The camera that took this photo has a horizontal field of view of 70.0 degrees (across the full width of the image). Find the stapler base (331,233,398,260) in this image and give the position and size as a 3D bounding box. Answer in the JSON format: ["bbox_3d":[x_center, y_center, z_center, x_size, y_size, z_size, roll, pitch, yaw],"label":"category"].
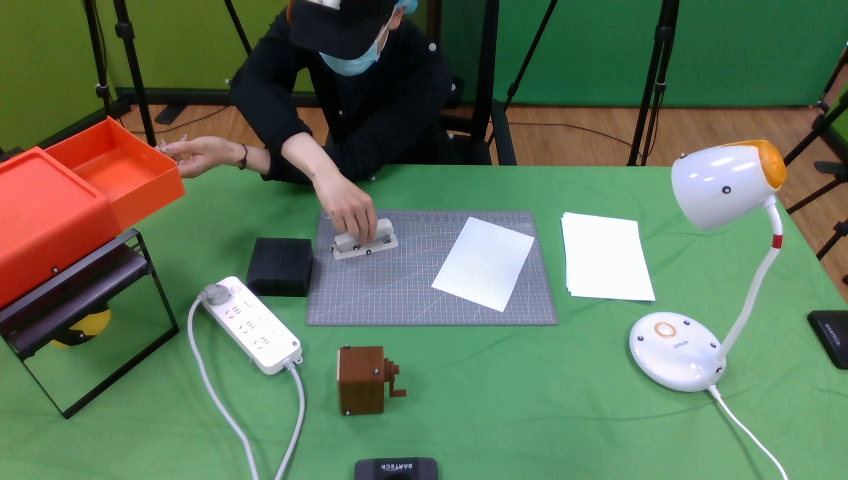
[{"bbox_3d":[-0.116,0.004,1.181,0.131,0.024,0.041,-13,47,-14],"label":"stapler base"}]

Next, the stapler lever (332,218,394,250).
[{"bbox_3d":[-0.116,-0.012,1.162,0.118,0.040,0.026,-13,47,-14],"label":"stapler lever"}]

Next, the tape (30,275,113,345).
[{"bbox_3d":[-0.593,0.117,1.021,0.117,0.053,0.116,2,46,-2],"label":"tape"}]

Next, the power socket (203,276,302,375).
[{"bbox_3d":[-0.297,0.141,1.034,0.072,0.033,0.225,-34,58,-30],"label":"power socket"}]

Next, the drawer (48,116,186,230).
[{"bbox_3d":[-0.525,-0.087,0.956,0.193,0.073,0.211,32,54,24],"label":"drawer"}]

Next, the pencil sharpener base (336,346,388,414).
[{"bbox_3d":[-0.094,0.215,0.927,0.077,0.107,0.061,-1,46,-6],"label":"pencil sharpener base"}]

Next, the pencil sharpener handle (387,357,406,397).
[{"bbox_3d":[-0.041,0.209,0.919,0.031,0.068,0.036,-1,25,-6],"label":"pencil sharpener handle"}]

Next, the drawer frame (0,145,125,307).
[{"bbox_3d":[-0.597,-0.024,0.887,0.201,0.083,0.213,30,52,22],"label":"drawer frame"}]

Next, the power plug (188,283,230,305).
[{"bbox_3d":[-0.368,0.099,1.037,0.072,0.053,0.035,-23,52,-25],"label":"power plug"}]

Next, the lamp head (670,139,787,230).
[{"bbox_3d":[0.415,-0.079,0.812,0.113,0.123,0.112,13,70,-37],"label":"lamp head"}]

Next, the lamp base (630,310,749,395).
[{"bbox_3d":[0.447,0.143,0.984,0.161,0.181,0.178,-24,55,-24],"label":"lamp base"}]

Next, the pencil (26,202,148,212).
[{"bbox_3d":[-0.529,-0.051,0.952,0.194,0.012,0.012,2,46,2],"label":"pencil"}]
